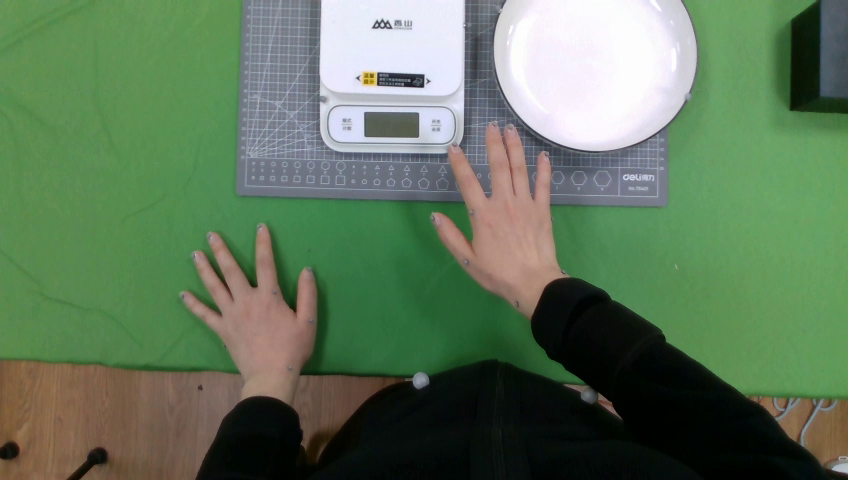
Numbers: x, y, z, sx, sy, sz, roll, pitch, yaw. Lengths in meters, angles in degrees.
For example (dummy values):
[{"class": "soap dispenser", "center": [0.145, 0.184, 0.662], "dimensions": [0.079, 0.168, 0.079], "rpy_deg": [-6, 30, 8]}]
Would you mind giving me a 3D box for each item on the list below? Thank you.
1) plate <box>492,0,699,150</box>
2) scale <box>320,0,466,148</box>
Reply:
[{"class": "plate", "center": [0.172, -0.192, 0.623], "dimensions": [0.209, 0.038, 0.208], "rpy_deg": [0, 87, -1]}, {"class": "scale", "center": [-0.032, -0.197, 0.624], "dimensions": [0.149, 0.031, 0.200], "rpy_deg": [1, 88, 0]}]
